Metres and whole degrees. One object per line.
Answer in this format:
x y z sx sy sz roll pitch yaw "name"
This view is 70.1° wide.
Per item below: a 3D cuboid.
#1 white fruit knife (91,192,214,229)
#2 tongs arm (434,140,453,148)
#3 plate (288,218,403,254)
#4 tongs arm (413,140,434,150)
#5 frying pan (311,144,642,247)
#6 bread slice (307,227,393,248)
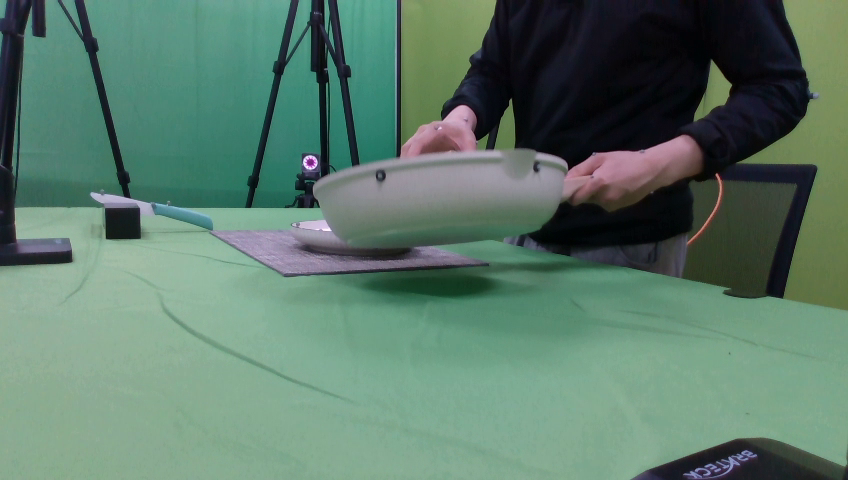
-0.478 -0.055 1.077 0.208 0.027 0.016 14 -2 -30 "white fruit knife"
0.048 -0.101 0.828 0.028 0.028 0.386 -11 17 -3 "tongs arm"
-0.109 -0.008 0.956 0.208 0.039 0.207 2 8 0 "plate"
0.003 -0.097 0.826 0.051 0.026 0.384 -7 17 -1 "tongs arm"
0.108 -0.060 0.752 0.490 0.102 0.305 -12 0 -31 "frying pan"
-0.115 -0.005 0.950 0.134 0.018 0.107 3 7 -7 "bread slice"
